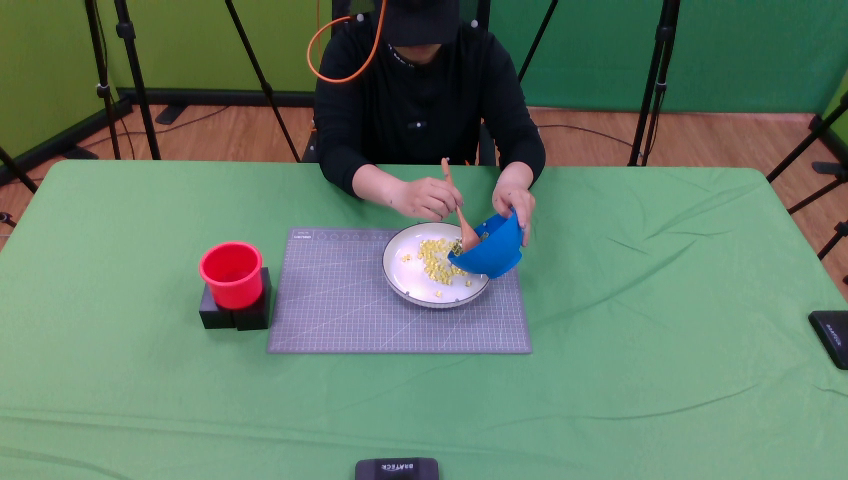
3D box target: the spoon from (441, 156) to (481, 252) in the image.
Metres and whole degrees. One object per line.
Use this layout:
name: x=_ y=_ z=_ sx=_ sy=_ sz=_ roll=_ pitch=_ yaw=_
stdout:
spoon: x=0.062 y=-0.057 z=1.087 sx=0.042 sy=0.021 sz=0.193 roll=-19 pitch=88 yaw=-25

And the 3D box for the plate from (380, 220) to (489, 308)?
plate: x=0.022 y=0.048 z=1.138 sx=0.208 sy=0.039 sz=0.206 roll=2 pitch=46 yaw=-2

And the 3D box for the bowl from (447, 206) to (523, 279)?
bowl: x=0.123 y=0.016 z=1.074 sx=0.077 sy=0.151 sz=0.151 roll=52 pitch=55 yaw=-8
